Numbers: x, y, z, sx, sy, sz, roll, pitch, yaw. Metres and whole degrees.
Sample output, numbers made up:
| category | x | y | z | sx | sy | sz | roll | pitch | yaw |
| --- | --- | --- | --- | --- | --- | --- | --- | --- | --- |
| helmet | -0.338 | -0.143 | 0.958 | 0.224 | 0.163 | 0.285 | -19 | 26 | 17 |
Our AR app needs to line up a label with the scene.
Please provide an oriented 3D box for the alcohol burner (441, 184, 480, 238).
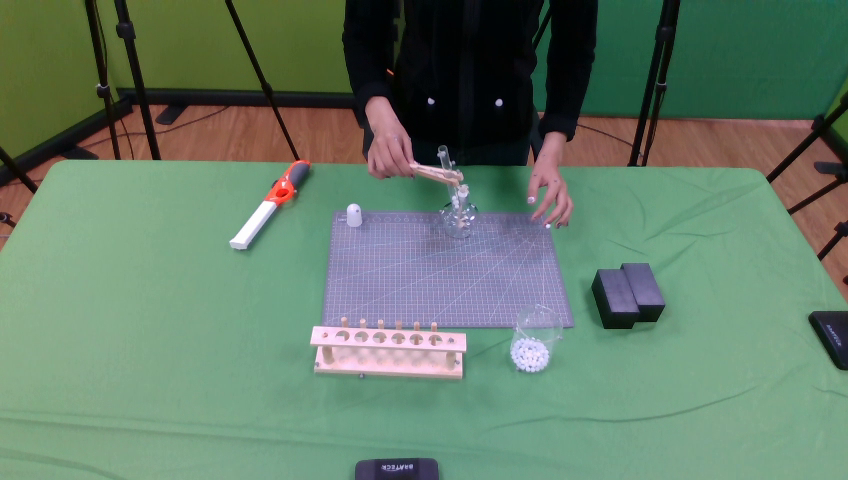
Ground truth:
| category | x | y | z | sx | sy | sz | roll | pitch | yaw |
| --- | --- | --- | --- | --- | --- | --- | --- | --- | --- |
| alcohol burner | 0.073 | -0.061 | 1.195 | 0.078 | 0.120 | 0.077 | 1 | 47 | 0 |

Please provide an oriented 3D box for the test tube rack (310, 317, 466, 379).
| category | x | y | z | sx | sy | sz | roll | pitch | yaw |
| --- | --- | --- | --- | --- | --- | --- | --- | --- | --- |
| test tube rack | -0.056 | 0.171 | 0.986 | 0.242 | 0.085 | 0.066 | 3 | 45 | -1 |

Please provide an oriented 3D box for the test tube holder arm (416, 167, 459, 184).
| category | x | y | z | sx | sy | sz | roll | pitch | yaw |
| --- | --- | --- | --- | --- | --- | --- | --- | --- | --- |
| test tube holder arm | 0.022 | -0.115 | 1.051 | 0.087 | 0.015 | 0.010 | 23 | 62 | 34 |

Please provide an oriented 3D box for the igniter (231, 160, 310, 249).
| category | x | y | z | sx | sy | sz | roll | pitch | yaw |
| --- | --- | --- | --- | --- | --- | --- | --- | --- | --- |
| igniter | -0.311 | -0.081 | 1.250 | 0.057 | 0.025 | 0.275 | 9 | 45 | 18 |

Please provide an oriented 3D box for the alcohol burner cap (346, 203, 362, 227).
| category | x | y | z | sx | sy | sz | roll | pitch | yaw |
| --- | --- | --- | --- | --- | --- | --- | --- | --- | --- |
| alcohol burner cap | -0.141 | -0.053 | 1.222 | 0.034 | 0.048 | 0.033 | 2 | 47 | -2 |

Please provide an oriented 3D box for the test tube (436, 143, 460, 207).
| category | x | y | z | sx | sy | sz | roll | pitch | yaw |
| --- | --- | --- | --- | --- | --- | --- | --- | --- | --- |
| test tube | 0.044 | -0.109 | 1.044 | 0.017 | 0.151 | 0.017 | -8 | 51 | 10 |

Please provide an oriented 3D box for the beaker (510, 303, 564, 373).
| category | x | y | z | sx | sy | sz | roll | pitch | yaw |
| --- | --- | --- | --- | --- | --- | --- | --- | --- | --- |
| beaker | 0.182 | 0.164 | 1.000 | 0.074 | 0.101 | 0.083 | 2 | 46 | -1 |

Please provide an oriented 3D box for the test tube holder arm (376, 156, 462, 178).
| category | x | y | z | sx | sy | sz | roll | pitch | yaw |
| --- | --- | --- | --- | --- | --- | --- | --- | --- | --- |
| test tube holder arm | -0.012 | -0.130 | 1.077 | 0.177 | 0.015 | 0.013 | 15 | 57 | 31 |
